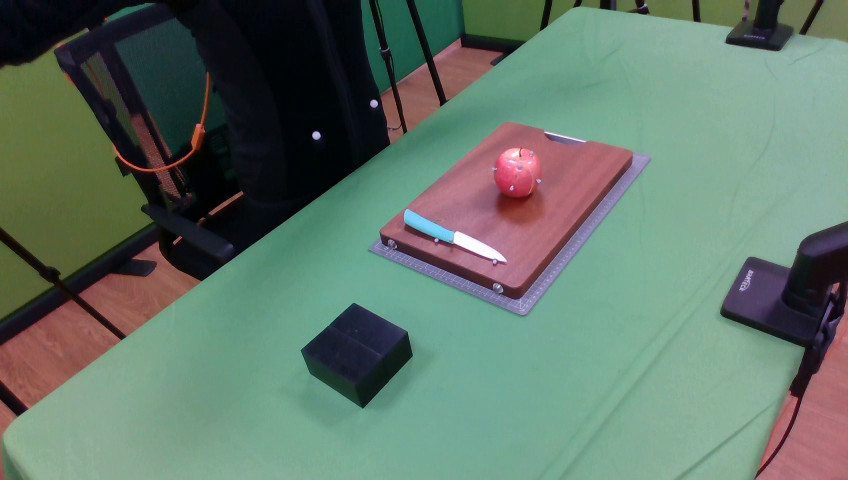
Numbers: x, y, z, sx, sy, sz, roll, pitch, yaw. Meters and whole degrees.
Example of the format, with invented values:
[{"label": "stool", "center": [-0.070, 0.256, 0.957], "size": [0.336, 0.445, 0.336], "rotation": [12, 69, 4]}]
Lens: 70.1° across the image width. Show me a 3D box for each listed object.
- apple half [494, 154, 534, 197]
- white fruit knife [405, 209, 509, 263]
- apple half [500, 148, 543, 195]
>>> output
[{"label": "apple half", "center": [0.140, -0.098, 0.989], "size": [0.080, 0.081, 0.033], "rotation": [27, 50, 35]}, {"label": "white fruit knife", "center": [0.046, -0.005, 0.944], "size": [0.205, 0.016, 0.027], "rotation": [24, 64, 32]}, {"label": "apple half", "center": [0.166, -0.118, 1.010], "size": [0.080, 0.075, 0.053], "rotation": [23, 46, 38]}]
